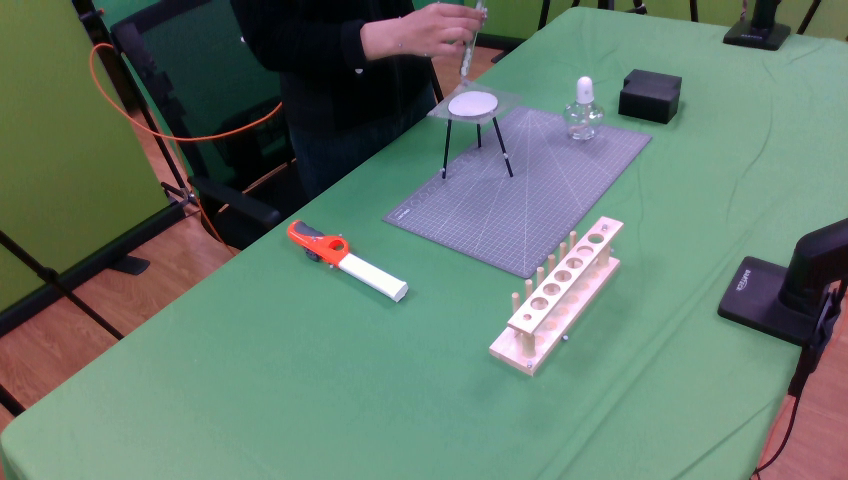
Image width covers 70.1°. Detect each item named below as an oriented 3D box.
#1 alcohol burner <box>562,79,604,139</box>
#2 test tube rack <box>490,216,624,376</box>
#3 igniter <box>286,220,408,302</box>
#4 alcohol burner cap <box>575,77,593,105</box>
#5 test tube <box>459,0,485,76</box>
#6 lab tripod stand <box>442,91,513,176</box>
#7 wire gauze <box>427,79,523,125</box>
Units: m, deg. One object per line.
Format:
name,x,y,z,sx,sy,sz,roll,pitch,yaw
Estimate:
alcohol burner,0.303,-0.253,1.147,0.078,0.119,0.077,-4,41,4
test tube rack,0.184,0.064,0.822,0.066,0.085,0.243,24,50,33
igniter,-0.133,0.028,0.969,0.274,0.025,0.057,26,61,35
alcohol burner cap,0.297,-0.279,1.123,0.034,0.048,0.033,-8,41,8
test tube,0.080,-0.338,0.982,0.017,0.150,0.017,8,38,-6
lab tripod stand,0.096,-0.190,1.096,0.148,0.132,0.147,-4,40,4
wire gauze,0.088,-0.239,1.050,0.120,0.011,0.125,22,50,30
